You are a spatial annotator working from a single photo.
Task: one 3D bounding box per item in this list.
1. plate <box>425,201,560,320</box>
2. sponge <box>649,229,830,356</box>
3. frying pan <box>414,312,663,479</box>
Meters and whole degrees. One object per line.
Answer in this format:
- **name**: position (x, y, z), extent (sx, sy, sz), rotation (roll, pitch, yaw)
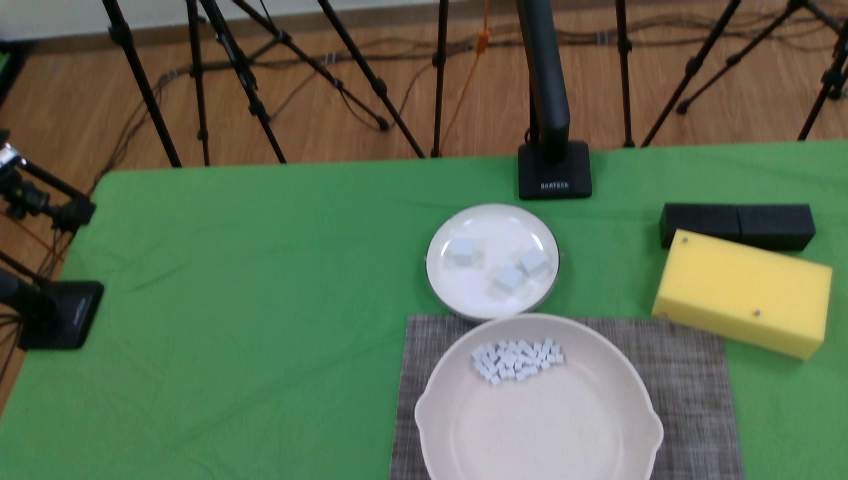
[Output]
- **plate**: position (0.106, 0.034, 0.944), extent (0.207, 0.039, 0.205), rotation (-4, 58, 7)
- **sponge**: position (0.438, 0.069, 0.849), extent (0.206, 0.061, 0.117), rotation (15, 59, 18)
- **frying pan**: position (0.126, 0.317, 0.720), extent (0.306, 0.104, 0.483), rotation (2, 50, 12)
